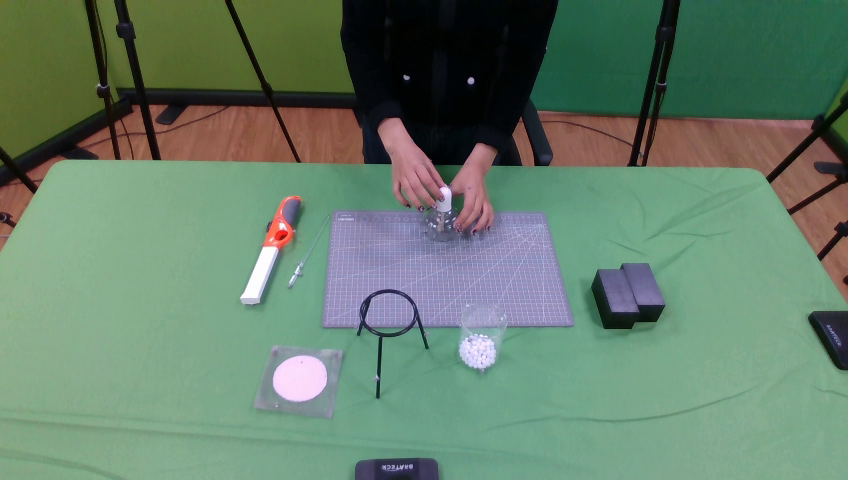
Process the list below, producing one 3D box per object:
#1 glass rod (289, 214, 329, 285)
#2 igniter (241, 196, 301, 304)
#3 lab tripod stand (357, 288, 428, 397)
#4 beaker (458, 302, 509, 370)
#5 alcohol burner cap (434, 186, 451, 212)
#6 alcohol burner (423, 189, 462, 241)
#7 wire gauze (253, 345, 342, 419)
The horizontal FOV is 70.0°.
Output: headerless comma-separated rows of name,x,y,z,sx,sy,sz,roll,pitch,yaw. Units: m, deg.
glass rod,-0.221,0.014,1.179,0.008,0.008,0.199,12,46,8
igniter,-0.290,0.010,1.164,0.057,0.025,0.275,0,45,10
lab tripod stand,-0.058,0.155,0.967,0.148,0.132,0.147,3,47,-3
beaker,0.092,0.159,0.999,0.083,0.101,0.074,35,53,28
alcohol burner cap,0.037,-0.082,1.162,0.034,0.048,0.033,4,40,-3
alcohol burner,0.036,-0.055,1.186,0.078,0.120,0.077,1,48,-1
wire gauze,-0.200,0.224,0.979,0.125,0.011,0.121,7,47,0
